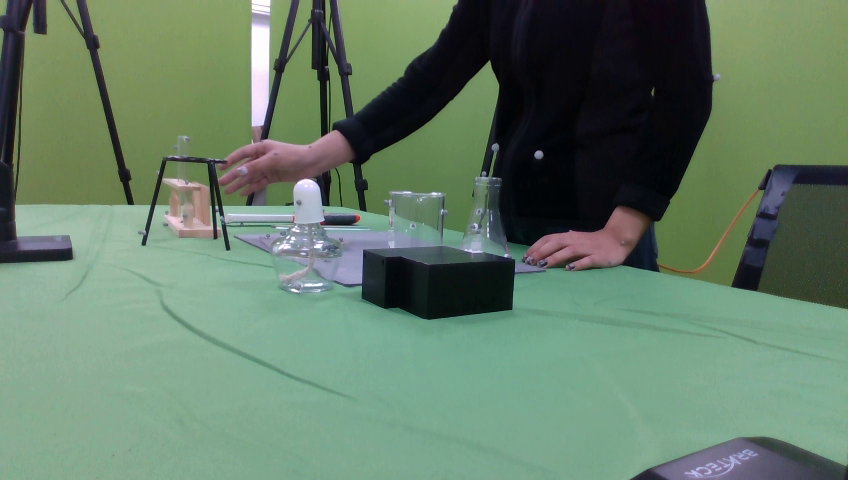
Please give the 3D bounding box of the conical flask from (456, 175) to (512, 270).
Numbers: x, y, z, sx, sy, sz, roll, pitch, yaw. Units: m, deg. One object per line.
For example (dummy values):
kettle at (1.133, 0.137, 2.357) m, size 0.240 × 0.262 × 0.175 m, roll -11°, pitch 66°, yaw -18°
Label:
conical flask at (0.082, -0.025, 0.801) m, size 0.075 × 0.122 × 0.075 m, roll 2°, pitch 7°, yaw 0°

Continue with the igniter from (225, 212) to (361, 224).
igniter at (-0.262, -0.044, 1.240) m, size 0.278 × 0.025 × 0.057 m, roll -2°, pitch -1°, yaw -31°

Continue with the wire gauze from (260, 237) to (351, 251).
wire gauze at (-0.185, 0.004, 0.938) m, size 0.122 × 0.011 × 0.124 m, roll -1°, pitch 6°, yaw -24°

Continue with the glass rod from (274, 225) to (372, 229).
glass rod at (-0.192, -0.024, 1.176) m, size 0.201 × 0.008 × 0.008 m, roll 0°, pitch 7°, yaw -31°

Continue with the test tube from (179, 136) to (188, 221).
test tube at (-0.425, -0.108, 1.070) m, size 0.017 × 0.150 × 0.017 m, roll 4°, pitch 9°, yaw 0°

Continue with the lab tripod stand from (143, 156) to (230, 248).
lab tripod stand at (-0.338, -0.058, 0.908) m, size 0.148 × 0.131 × 0.148 m, roll 4°, pitch 7°, yaw 0°

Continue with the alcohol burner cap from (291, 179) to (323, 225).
alcohol burner cap at (-0.124, -0.040, 0.632) m, size 0.034 × 0.048 × 0.034 m, roll -3°, pitch 10°, yaw 1°

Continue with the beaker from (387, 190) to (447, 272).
beaker at (-0.010, -0.013, 0.771) m, size 0.074 × 0.100 × 0.084 m, roll 3°, pitch 6°, yaw 4°

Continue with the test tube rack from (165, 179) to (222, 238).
test tube rack at (-0.423, -0.062, 1.098) m, size 0.067 × 0.085 × 0.241 m, roll -2°, pitch 9°, yaw -28°

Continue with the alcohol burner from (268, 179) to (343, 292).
alcohol burner at (-0.124, -0.005, 0.637) m, size 0.078 × 0.119 × 0.078 m, roll 4°, pitch 8°, yaw 0°
